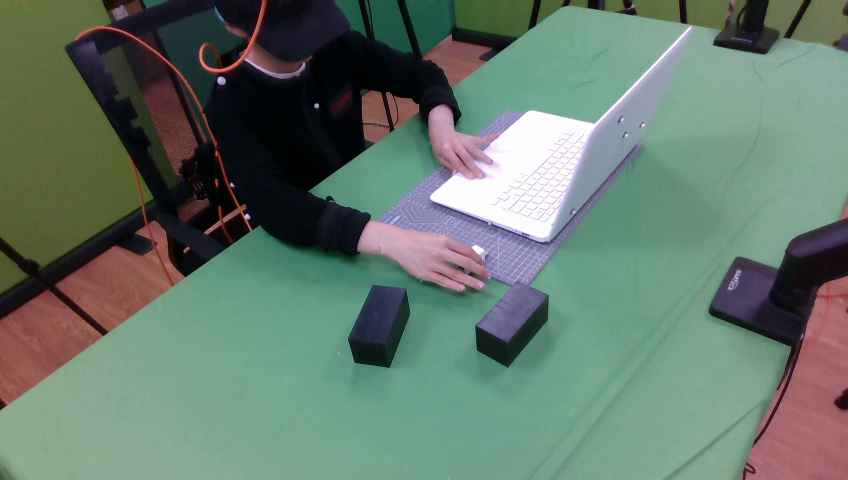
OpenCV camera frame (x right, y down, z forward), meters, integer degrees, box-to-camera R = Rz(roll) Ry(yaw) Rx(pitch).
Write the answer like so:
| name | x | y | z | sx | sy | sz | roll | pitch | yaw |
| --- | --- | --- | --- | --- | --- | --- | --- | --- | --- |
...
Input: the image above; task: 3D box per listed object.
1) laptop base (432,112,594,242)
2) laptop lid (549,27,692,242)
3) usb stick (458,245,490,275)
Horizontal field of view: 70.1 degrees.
| name | x | y | z | sx | sy | sz | roll | pitch | yaw |
| --- | --- | --- | --- | --- | --- | --- | --- | --- | --- |
| laptop base | 0.208 | -0.128 | 1.098 | 0.233 | 0.023 | 0.355 | 20 | 47 | 34 |
| laptop lid | 0.311 | -0.167 | 0.948 | 0.013 | 0.242 | 0.358 | 33 | 52 | 20 |
| usb stick | 0.079 | 0.028 | 0.923 | 0.059 | 0.027 | 0.021 | -31 | 45 | -35 |
